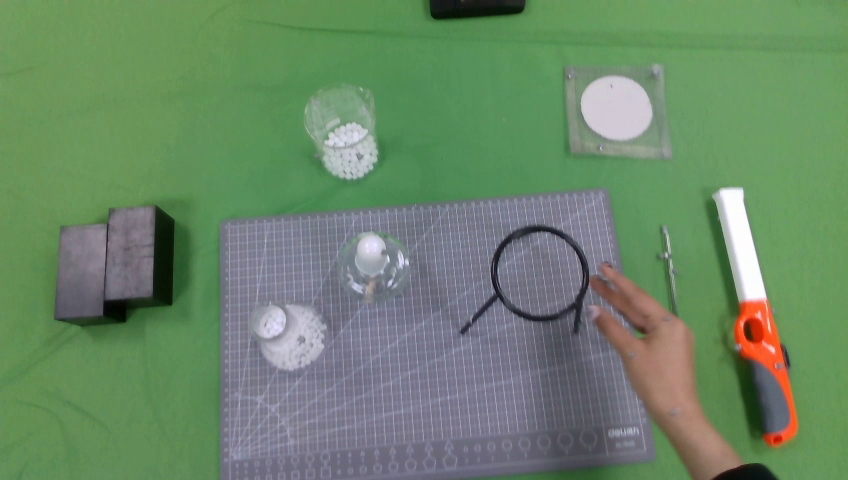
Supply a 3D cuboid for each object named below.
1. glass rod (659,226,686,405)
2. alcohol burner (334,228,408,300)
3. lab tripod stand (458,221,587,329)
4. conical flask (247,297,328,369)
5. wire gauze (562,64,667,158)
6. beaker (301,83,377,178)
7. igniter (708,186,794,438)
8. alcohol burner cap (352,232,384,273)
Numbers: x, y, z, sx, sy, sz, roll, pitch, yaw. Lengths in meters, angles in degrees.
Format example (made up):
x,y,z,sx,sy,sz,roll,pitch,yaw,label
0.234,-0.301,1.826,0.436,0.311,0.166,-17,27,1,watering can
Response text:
x,y,z,sx,sy,sz,roll,pitch,yaw,label
0.275,0.080,0.672,0.008,0.008,0.198,-1,75,-1,glass rod
-0.056,0.021,0.626,0.078,0.119,0.077,1,74,-2,alcohol burner
0.101,0.046,0.611,0.148,0.132,0.147,0,77,0,lab tripod stand
-0.141,0.087,0.603,0.075,0.122,0.075,0,75,0,conical flask
0.231,-0.159,0.735,0.125,0.011,0.121,2,76,-2,wire gauze
-0.088,-0.118,0.673,0.073,0.101,0.084,43,78,10,beaker
0.358,0.073,0.665,0.057,0.025,0.275,-2,75,-12,igniter
-0.054,0.009,0.592,0.034,0.048,0.033,3,67,-7,alcohol burner cap
